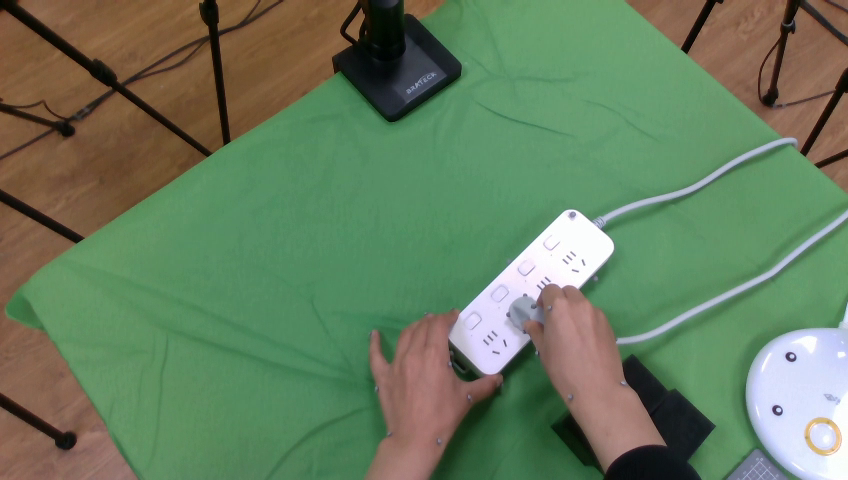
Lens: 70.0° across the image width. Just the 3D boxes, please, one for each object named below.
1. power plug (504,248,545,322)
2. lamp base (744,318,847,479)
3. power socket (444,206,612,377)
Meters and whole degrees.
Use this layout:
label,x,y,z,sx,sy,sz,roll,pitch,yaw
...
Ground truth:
label,x,y,z,sx,sy,sz,roll,pitch,yaw
power plug,0.108,0.051,0.628,0.035,0.052,0.072,34,69,-15
lamp base,0.417,0.128,0.558,0.160,0.181,0.178,21,67,6
power socket,0.114,0.053,0.654,0.072,0.033,0.226,43,74,11
